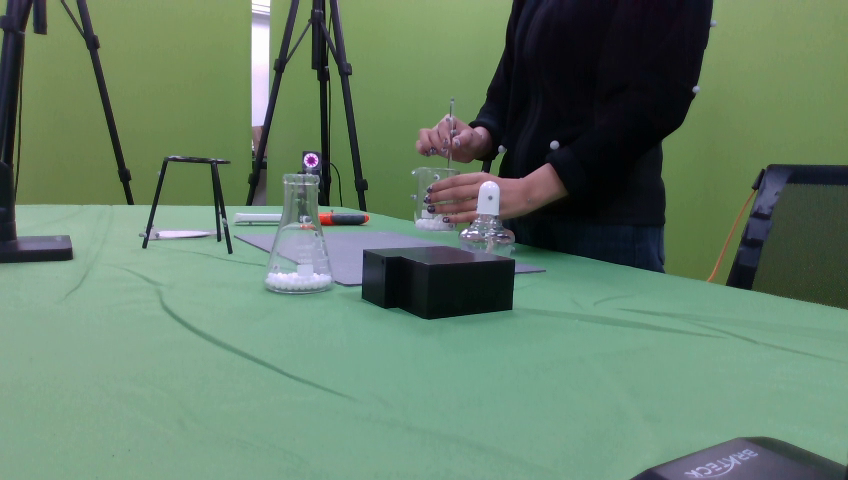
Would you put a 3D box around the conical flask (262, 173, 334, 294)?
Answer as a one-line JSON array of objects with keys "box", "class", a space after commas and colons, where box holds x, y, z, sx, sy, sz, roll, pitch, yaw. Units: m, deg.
[{"box": [-0.131, -0.009, 0.632, 0.075, 0.122, 0.075, 2, 8, 0], "class": "conical flask"}]

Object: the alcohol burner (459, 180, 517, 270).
[{"box": [0.086, -0.021, 0.805, 0.078, 0.119, 0.078, 3, 10, 0], "class": "alcohol burner"}]

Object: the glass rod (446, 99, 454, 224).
[{"box": [0.041, -0.124, 0.953, 0.008, 0.199, 0.008, 2, -2, 0], "class": "glass rod"}]

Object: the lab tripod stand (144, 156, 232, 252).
[{"box": [-0.325, -0.054, 0.881, 0.148, 0.131, 0.148, 4, 7, 0], "class": "lab tripod stand"}]

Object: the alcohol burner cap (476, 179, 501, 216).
[{"box": [0.086, -0.057, 0.801, 0.034, 0.048, 0.034, 4, 2, 0], "class": "alcohol burner cap"}]

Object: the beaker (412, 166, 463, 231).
[{"box": [0.019, -0.066, 0.968, 0.084, 0.100, 0.074, 3, 3, 12], "class": "beaker"}]

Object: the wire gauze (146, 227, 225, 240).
[{"box": [-0.400, -0.012, 1.019, 0.122, 0.011, 0.124, -1, 6, -26], "class": "wire gauze"}]

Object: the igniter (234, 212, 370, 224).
[{"box": [-0.247, -0.046, 1.253, 0.278, 0.025, 0.057, -1, -3, -27], "class": "igniter"}]
